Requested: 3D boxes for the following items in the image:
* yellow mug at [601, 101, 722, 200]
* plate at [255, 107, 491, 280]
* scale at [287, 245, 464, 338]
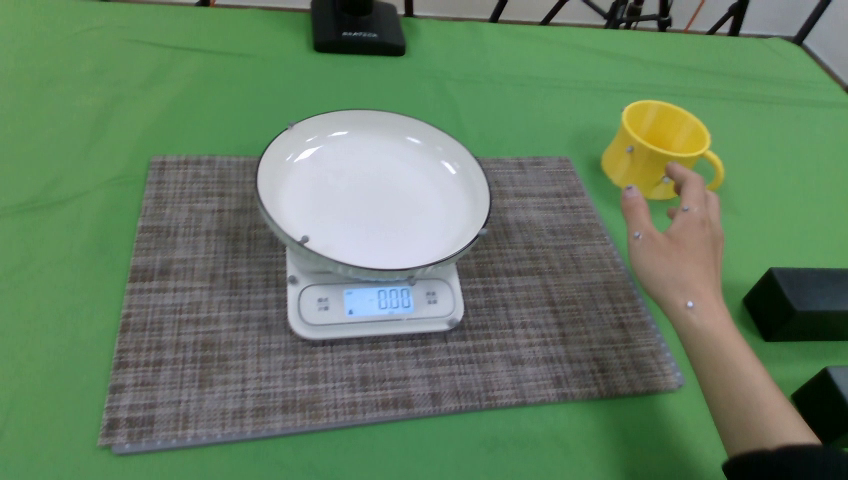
[{"bbox_3d":[0.274,-0.095,0.687,0.130,0.064,0.100,33,51,17],"label":"yellow mug"},{"bbox_3d":[-0.044,-0.043,0.547,0.209,0.038,0.207,6,48,-7],"label":"plate"},{"bbox_3d":[-0.050,-0.004,0.555,0.149,0.032,0.198,-1,49,-13],"label":"scale"}]
